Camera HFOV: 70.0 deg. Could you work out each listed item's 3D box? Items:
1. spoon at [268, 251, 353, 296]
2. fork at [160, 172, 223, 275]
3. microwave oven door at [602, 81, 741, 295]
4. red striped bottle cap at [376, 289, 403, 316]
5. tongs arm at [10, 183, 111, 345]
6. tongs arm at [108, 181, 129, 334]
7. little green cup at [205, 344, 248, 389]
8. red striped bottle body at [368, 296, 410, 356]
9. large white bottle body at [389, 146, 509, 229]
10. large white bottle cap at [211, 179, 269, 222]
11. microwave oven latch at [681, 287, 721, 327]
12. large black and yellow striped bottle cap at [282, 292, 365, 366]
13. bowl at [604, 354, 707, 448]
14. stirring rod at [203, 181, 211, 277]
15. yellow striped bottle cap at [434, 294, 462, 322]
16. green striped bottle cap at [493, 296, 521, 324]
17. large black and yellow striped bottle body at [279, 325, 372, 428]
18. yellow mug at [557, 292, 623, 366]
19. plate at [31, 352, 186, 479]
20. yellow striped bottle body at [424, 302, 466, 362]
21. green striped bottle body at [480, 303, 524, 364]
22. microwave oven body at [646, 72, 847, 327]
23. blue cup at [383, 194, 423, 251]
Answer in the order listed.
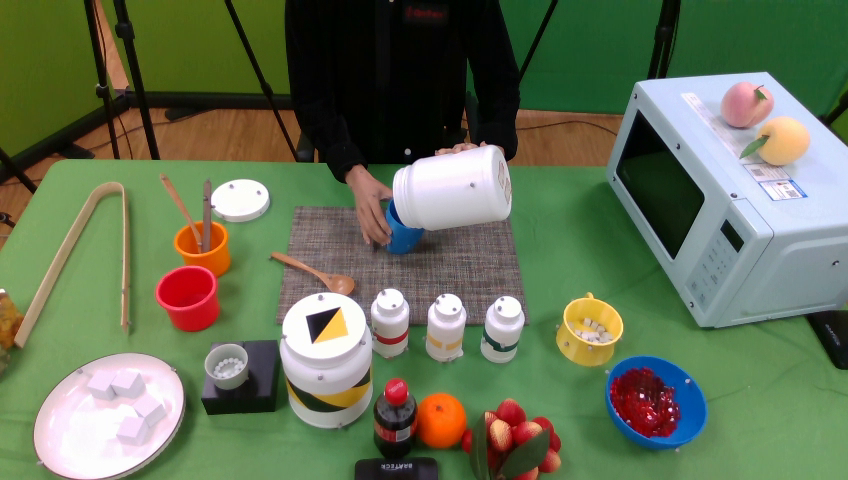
[{"bbox_3d":[-0.212,0.057,1.121,0.193,0.022,0.041,24,74,18],"label":"spoon"},{"bbox_3d":[-0.425,-0.030,1.103,0.028,0.018,0.207,-28,98,-12],"label":"fork"},{"bbox_3d":[0.456,-0.107,1.162,0.039,0.245,0.353,-6,47,-11],"label":"microwave oven door"},{"bbox_3d":[-0.054,0.098,0.958,0.044,0.018,0.044,0,48,1],"label":"red striped bottle cap"},{"bbox_3d":[-0.658,0.027,1.109,0.028,0.028,0.385,-2,45,2],"label":"tongs arm"},{"bbox_3d":[-0.571,0.019,1.123,0.051,0.026,0.382,-11,47,-12],"label":"tongs arm"},{"bbox_3d":[-0.294,0.191,0.909,0.061,0.039,0.061,1,47,-1],"label":"little green cup"},{"bbox_3d":[-0.058,0.135,0.997,0.063,0.120,0.062,6,49,-6],"label":"red striped bottle body"},{"bbox_3d":[0.045,-0.087,1.056,0.184,0.131,0.130,-6,43,20],"label":"large white bottle body"},{"bbox_3d":[-0.380,-0.082,1.250,0.115,0.018,0.114,2,47,-2],"label":"large white bottle cap"},{"bbox_3d":[0.494,0.119,1.087,0.030,0.029,0.078,-5,46,-9],"label":"microwave oven latch"},{"bbox_3d":[-0.138,0.121,0.841,0.115,0.019,0.114,3,47,-3],"label":"large black and yellow striped bottle cap"},{"bbox_3d":[0.346,0.261,0.937,0.151,0.077,0.150,2,46,-2],"label":"bowl"},{"bbox_3d":[-0.396,-0.021,1.107,0.014,0.006,0.176,-1,89,-1],"label":"stirring rod"},{"bbox_3d":[0.038,0.107,0.958,0.044,0.019,0.044,2,44,-2],"label":"yellow striped bottle cap"},{"bbox_3d":[0.133,0.111,0.962,0.044,0.020,0.044,2,47,-1],"label":"green striped bottle cap"},{"bbox_3d":[-0.143,0.181,0.900,0.131,0.185,0.130,2,46,-2],"label":"large black and yellow striped bottle body"},{"bbox_3d":[0.285,0.145,1.051,0.100,0.064,0.130,7,46,4],"label":"yellow mug"},{"bbox_3d":[-0.459,0.262,0.898,0.209,0.038,0.208,2,46,-2],"label":"plate"},{"bbox_3d":[0.035,0.143,0.995,0.063,0.121,0.062,3,46,-3],"label":"yellow striped bottle body"},{"bbox_3d":[0.129,0.147,1.000,0.063,0.120,0.063,2,46,-2],"label":"green striped bottle body"},{"bbox_3d":[0.607,-0.089,1.164,0.326,0.261,0.438,-7,46,-10],"label":"microwave oven body"},{"bbox_3d":[-0.040,-0.032,1.154,0.093,0.100,0.092,8,52,-10],"label":"blue cup"}]
